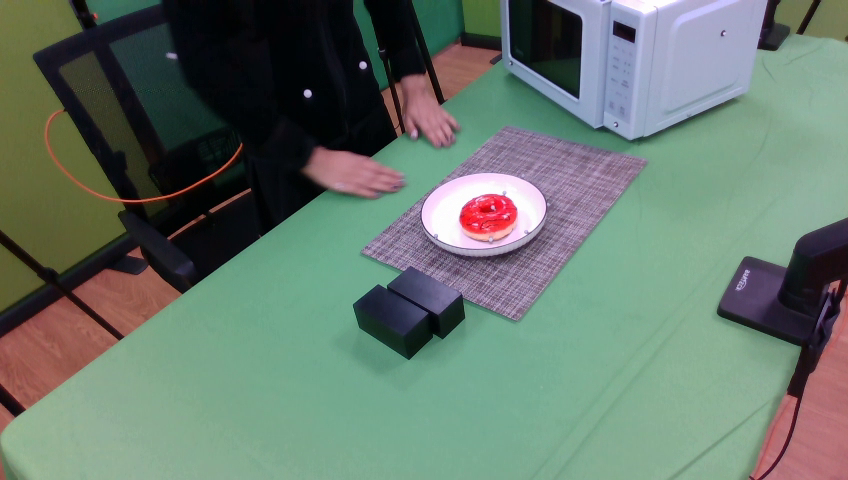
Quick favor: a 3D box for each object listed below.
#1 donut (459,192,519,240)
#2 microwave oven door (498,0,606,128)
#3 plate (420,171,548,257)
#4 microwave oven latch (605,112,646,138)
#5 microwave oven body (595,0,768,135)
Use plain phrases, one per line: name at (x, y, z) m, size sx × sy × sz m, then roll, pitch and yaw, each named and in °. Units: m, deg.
donut at (0.105, -0.040, 0.976) m, size 0.099 × 0.048 × 0.098 m, roll -7°, pitch 41°, yaw 6°
microwave oven door at (0.253, -0.406, 1.216) m, size 0.039 × 0.245 × 0.352 m, roll -22°, pitch 42°, yaw -14°
plate at (0.098, -0.040, 0.994) m, size 0.209 × 0.038 × 0.208 m, roll -5°, pitch 40°, yaw 5°
microwave oven latch at (0.375, -0.217, 1.130) m, size 0.030 × 0.029 × 0.078 m, roll -25°, pitch 42°, yaw -16°
microwave oven body at (0.411, -0.441, 1.235) m, size 0.327 × 0.261 × 0.437 m, roll -25°, pitch 42°, yaw -16°
